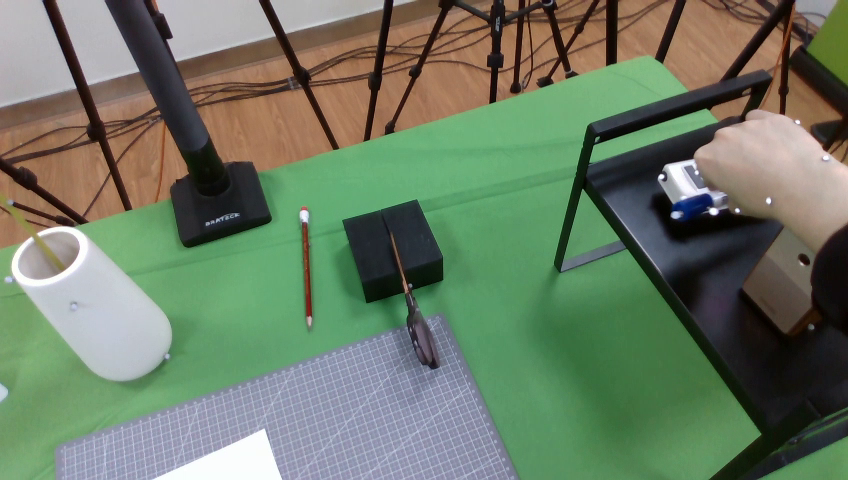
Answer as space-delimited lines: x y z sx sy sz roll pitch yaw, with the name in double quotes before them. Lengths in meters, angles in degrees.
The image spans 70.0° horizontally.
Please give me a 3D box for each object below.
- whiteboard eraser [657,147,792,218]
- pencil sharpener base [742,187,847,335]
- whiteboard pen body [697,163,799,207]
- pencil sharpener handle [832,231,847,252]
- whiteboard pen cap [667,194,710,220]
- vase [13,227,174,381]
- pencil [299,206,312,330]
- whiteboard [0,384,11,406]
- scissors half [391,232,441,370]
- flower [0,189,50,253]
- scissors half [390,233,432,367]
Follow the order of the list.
"whiteboard eraser" 0.292 -0.054 0.593 0.113 0.042 0.055 -10 55 -6
"pencil sharpener base" 0.327 0.018 0.499 0.077 0.108 0.060 -22 55 -14
"whiteboard pen body" 0.275 -0.045 0.528 0.141 0.017 0.017 -17 54 -21
"pencil sharpener handle" 0.371 -0.011 0.503 0.031 0.068 0.035 -22 69 -14
"whiteboard pen cap" 0.222 -0.028 0.507 0.033 0.018 0.018 -16 54 -20
"vase" -0.346 0.072 0.646 0.098 0.202 0.097 -2 53 3
"pencil" -0.153 0.032 0.786 0.012 0.012 0.192 -8 55 -4
"whiteboard" -0.631 0.126 0.586 0.142 0.309 0.216 16 54 37
"scissors half" -0.013 0.068 0.713 0.013 0.040 0.174 -23 74 14
"flower" -0.360 0.015 0.585 0.044 0.365 0.038 -24 39 -11
"scissors half" -0.019 0.062 0.695 0.013 0.040 0.173 -22 56 9
